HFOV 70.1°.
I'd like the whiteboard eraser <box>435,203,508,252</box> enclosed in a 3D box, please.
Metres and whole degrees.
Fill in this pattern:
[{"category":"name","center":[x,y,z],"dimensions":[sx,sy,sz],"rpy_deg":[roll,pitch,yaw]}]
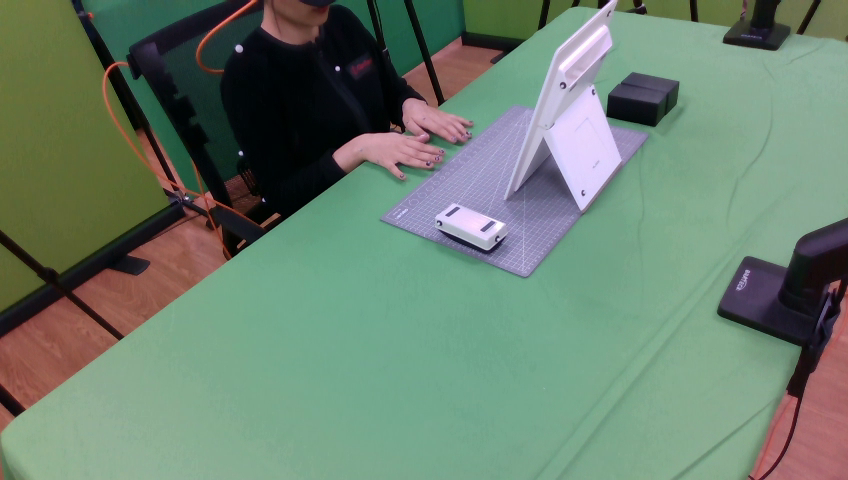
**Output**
[{"category":"whiteboard eraser","center":[0.075,-0.019,0.971],"dimensions":[0.112,0.042,0.056],"rpy_deg":[25,51,34]}]

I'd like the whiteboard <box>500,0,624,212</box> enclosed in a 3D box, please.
[{"category":"whiteboard","center":[0.271,-0.189,0.977],"dimensions":[0.143,0.306,0.218],"rpy_deg":[34,54,16]}]
